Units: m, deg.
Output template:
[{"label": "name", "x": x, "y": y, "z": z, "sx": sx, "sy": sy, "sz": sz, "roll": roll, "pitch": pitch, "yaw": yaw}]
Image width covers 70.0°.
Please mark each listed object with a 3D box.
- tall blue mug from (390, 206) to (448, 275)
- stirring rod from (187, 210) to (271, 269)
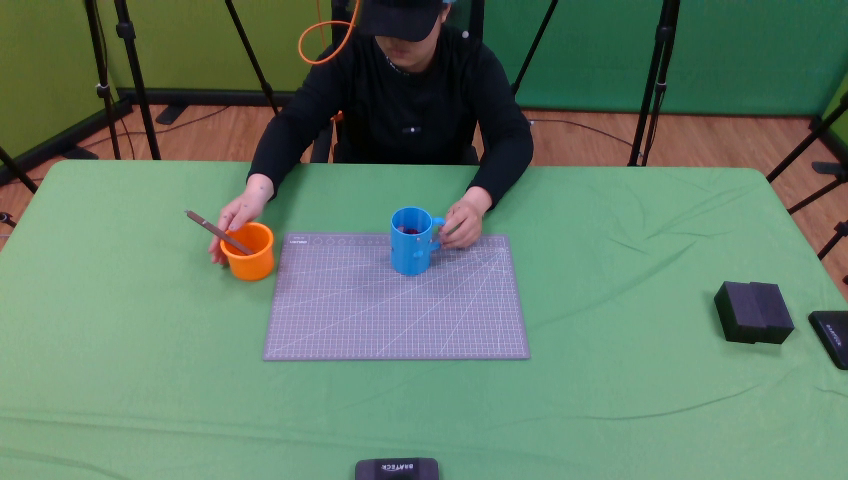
[{"label": "tall blue mug", "x": -0.016, "y": -0.006, "z": 1.140, "sx": 0.077, "sy": 0.108, "sz": 0.107, "roll": 30, "pitch": 51, "yaw": 24}, {"label": "stirring rod", "x": -0.349, "y": 0.001, "z": 1.092, "sx": 0.177, "sy": 0.006, "sz": 0.014, "roll": 39, "pitch": 36, "yaw": -27}]
